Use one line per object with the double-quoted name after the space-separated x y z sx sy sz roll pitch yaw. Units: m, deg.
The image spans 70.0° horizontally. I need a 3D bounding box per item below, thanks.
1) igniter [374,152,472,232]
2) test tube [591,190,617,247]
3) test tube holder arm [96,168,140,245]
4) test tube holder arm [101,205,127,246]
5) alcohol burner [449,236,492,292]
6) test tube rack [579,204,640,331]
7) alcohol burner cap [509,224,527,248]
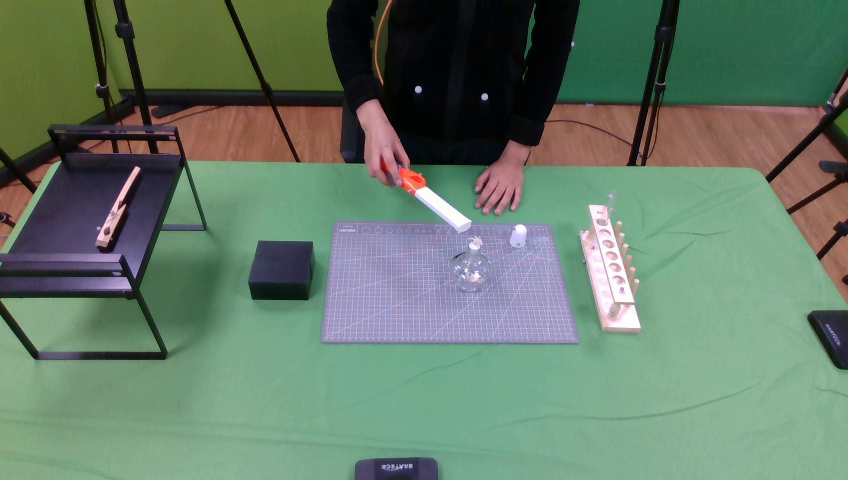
-0.012 -0.098 1.141 0.057 0.025 0.275 -22 47 -33 "igniter"
0.340 -0.038 1.149 0.017 0.151 0.017 1 50 -1 "test tube"
-0.486 -0.058 0.968 0.013 0.015 0.177 27 37 -27 "test tube holder arm"
-0.480 -0.024 0.938 0.010 0.015 0.087 28 37 -26 "test tube holder arm"
0.086 0.038 1.101 0.078 0.119 0.077 3 44 -2 "alcohol burner"
0.353 0.047 1.137 0.067 0.085 0.241 2 46 -2 "test tube rack"
0.189 -0.011 1.206 0.034 0.048 0.033 1 46 -1 "alcohol burner cap"
